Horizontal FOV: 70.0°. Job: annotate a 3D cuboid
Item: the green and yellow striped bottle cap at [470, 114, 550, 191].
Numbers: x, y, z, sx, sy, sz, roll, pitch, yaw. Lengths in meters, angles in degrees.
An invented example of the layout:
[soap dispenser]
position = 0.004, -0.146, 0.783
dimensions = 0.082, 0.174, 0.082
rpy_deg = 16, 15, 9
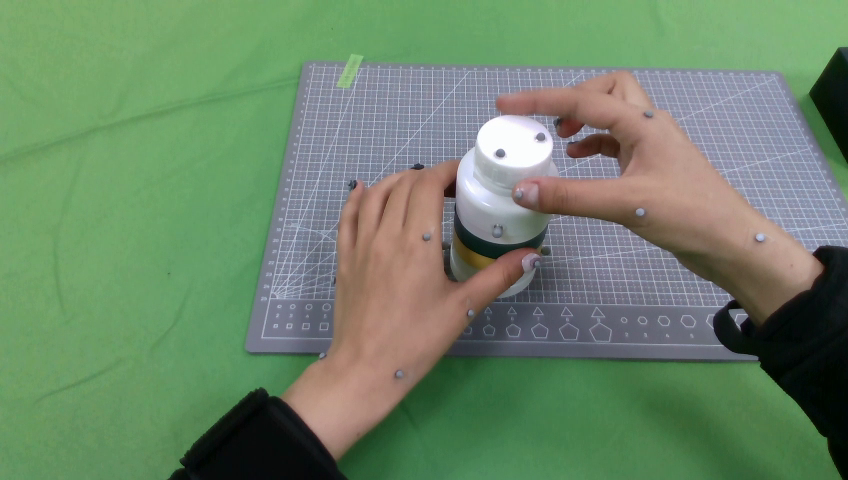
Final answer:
[green and yellow striped bottle cap]
position = 0.049, -0.051, 0.346
dimensions = 0.045, 0.020, 0.045
rpy_deg = 2, 54, -2

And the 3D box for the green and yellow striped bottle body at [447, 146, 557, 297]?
[green and yellow striped bottle body]
position = 0.048, -0.019, 0.391
dimensions = 0.063, 0.120, 0.062
rpy_deg = 1, 55, 0
